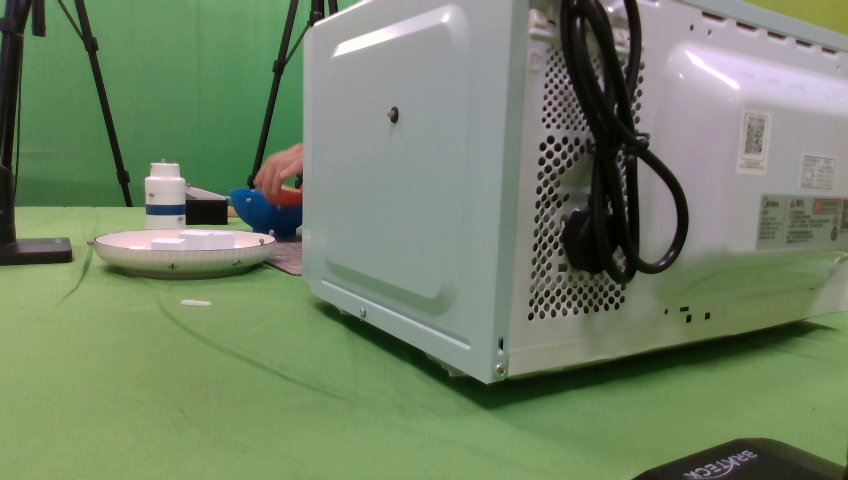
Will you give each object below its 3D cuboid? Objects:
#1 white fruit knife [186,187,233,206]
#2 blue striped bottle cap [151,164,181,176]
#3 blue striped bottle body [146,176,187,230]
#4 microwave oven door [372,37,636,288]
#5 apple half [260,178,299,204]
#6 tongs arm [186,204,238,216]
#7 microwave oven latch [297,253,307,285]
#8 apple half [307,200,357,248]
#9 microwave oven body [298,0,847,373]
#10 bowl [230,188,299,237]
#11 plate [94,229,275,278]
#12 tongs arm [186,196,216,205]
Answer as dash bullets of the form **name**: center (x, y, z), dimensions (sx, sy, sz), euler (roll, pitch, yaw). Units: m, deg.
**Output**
- **white fruit knife**: center (-0.413, -0.081, 1.270), dimensions (0.208, 0.027, 0.016), euler (18, 13, -42)
- **blue striped bottle cap**: center (-0.428, -0.116, 1.002), dimensions (0.044, 0.020, 0.044), euler (1, 6, 0)
- **blue striped bottle body**: center (-0.430, -0.065, 1.010), dimensions (0.063, 0.120, 0.063), euler (2, 7, 0)
- **microwave oven door**: center (0.110, -0.080, 0.686), dimensions (0.358, 0.243, 0.039), euler (-2, 9, -33)
- **apple half**: center (-0.220, -0.071, 0.941), dimensions (0.081, 0.033, 0.081), euler (18, 5, -1)
- **tongs arm**: center (-0.396, -0.067, 1.399), dimensions (0.389, 0.028, 0.028), euler (1, 5, -15)
- **microwave oven latch**: center (-0.082, 0.027, 0.582), dimensions (0.079, 0.029, 0.030), euler (-1, 7, -32)
- **apple half**: center (-0.135, -0.024, 0.942), dimensions (0.053, 0.074, 0.081), euler (13, 8, 38)
- **microwave oven body**: center (0.151, -0.055, 0.542), dimensions (0.444, 0.260, 0.324), euler (-2, 7, -33)
- **bowl**: center (-0.264, -0.048, 1.066), dimensions (0.151, 0.077, 0.151), euler (3, 8, 0)
- **plate**: center (-0.291, 0.016, 0.750), dimensions (0.208, 0.039, 0.207), euler (2, 7, 0)
- **tongs arm**: center (-0.404, -0.081, 1.479), dimensions (0.385, 0.026, 0.050), euler (3, 8, -2)
